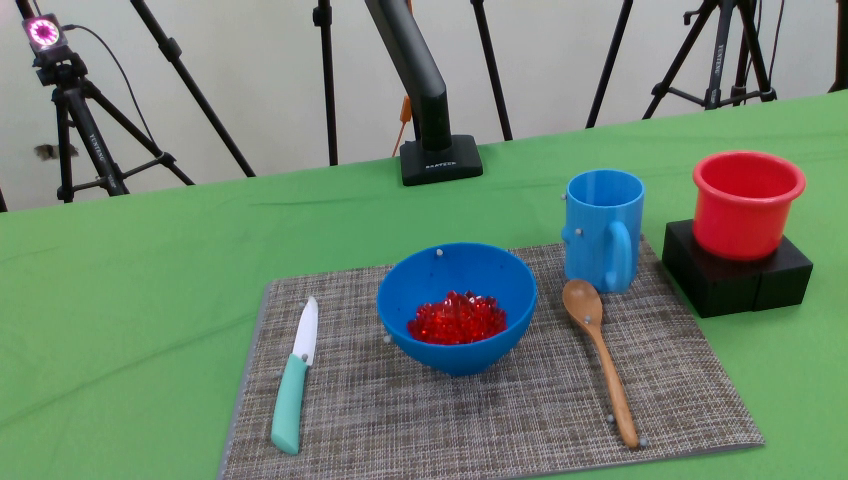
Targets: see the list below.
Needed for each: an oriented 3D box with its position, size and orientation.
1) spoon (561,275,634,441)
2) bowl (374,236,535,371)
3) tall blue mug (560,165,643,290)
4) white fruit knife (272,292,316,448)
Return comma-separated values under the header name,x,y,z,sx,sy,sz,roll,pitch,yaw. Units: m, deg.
name,x,y,z,sx,sy,sz,roll,pitch,yaw
spoon,0.163,0.101,0.565,0.042,0.022,0.192,8,35,-7
bowl,0.032,0.072,0.584,0.151,0.077,0.150,-6,36,4
tall blue mug,0.195,-0.007,0.633,0.078,0.109,0.106,-24,38,-21
white fruit knife,-0.127,0.119,0.609,0.027,0.016,0.205,18,32,-14
